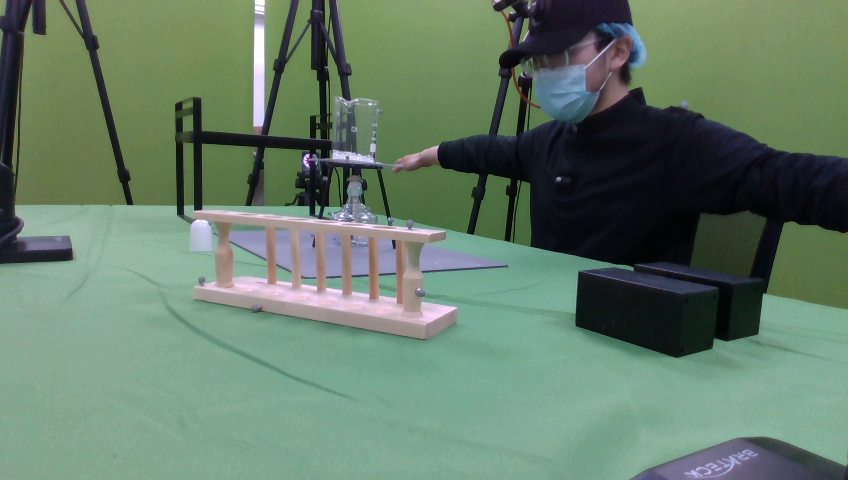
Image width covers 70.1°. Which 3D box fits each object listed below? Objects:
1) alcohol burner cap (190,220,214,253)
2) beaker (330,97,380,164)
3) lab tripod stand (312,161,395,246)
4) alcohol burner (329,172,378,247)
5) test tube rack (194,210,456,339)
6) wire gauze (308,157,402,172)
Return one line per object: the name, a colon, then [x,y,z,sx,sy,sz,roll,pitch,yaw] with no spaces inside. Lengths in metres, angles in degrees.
alcohol burner cap: [-0.321,-0.006,0.875,0.034,0.048,0.034,4,8,0]
beaker: [-0.111,-0.171,0.953,0.074,0.100,0.084,5,8,7]
lab tripod stand: [-0.110,-0.058,0.970,0.148,0.131,0.148,4,6,0]
alcohol burner: [-0.113,-0.049,0.972,0.078,0.119,0.078,1,9,0]
test tube rack: [-0.093,0.023,0.545,0.241,0.085,0.067,6,8,25]
wire gauze: [-0.111,-0.122,0.956,0.125,0.011,0.121,4,8,-22]
